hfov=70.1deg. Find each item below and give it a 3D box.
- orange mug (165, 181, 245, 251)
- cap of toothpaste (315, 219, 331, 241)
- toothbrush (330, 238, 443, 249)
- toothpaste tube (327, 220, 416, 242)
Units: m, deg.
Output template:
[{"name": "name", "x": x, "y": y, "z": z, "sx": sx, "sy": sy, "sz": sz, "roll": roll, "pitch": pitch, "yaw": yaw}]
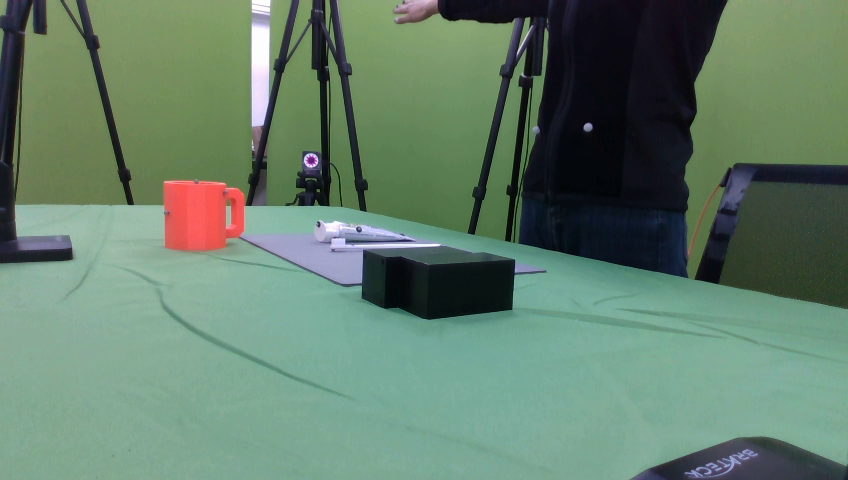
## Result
[{"name": "orange mug", "x": -0.326, "y": -0.040, "z": 0.911, "sx": 0.083, "sy": 0.101, "sz": 0.127, "roll": 8, "pitch": 14, "yaw": 37}, {"name": "cap of toothpaste", "x": -0.164, "y": -0.016, "z": 0.982, "sx": 0.011, "sy": 0.037, "sz": 0.037, "roll": -8, "pitch": 12, "yaw": -43}, {"name": "toothbrush", "x": -0.054, "y": 0.006, "z": 0.927, "sx": 0.183, "sy": 0.016, "sz": 0.014, "roll": 1, "pitch": -8, "yaw": -23}, {"name": "toothpaste tube", "x": -0.095, "y": -0.012, "z": 1.026, "sx": 0.166, "sy": 0.034, "sz": 0.055, "roll": 2, "pitch": 13, "yaw": -33}]
